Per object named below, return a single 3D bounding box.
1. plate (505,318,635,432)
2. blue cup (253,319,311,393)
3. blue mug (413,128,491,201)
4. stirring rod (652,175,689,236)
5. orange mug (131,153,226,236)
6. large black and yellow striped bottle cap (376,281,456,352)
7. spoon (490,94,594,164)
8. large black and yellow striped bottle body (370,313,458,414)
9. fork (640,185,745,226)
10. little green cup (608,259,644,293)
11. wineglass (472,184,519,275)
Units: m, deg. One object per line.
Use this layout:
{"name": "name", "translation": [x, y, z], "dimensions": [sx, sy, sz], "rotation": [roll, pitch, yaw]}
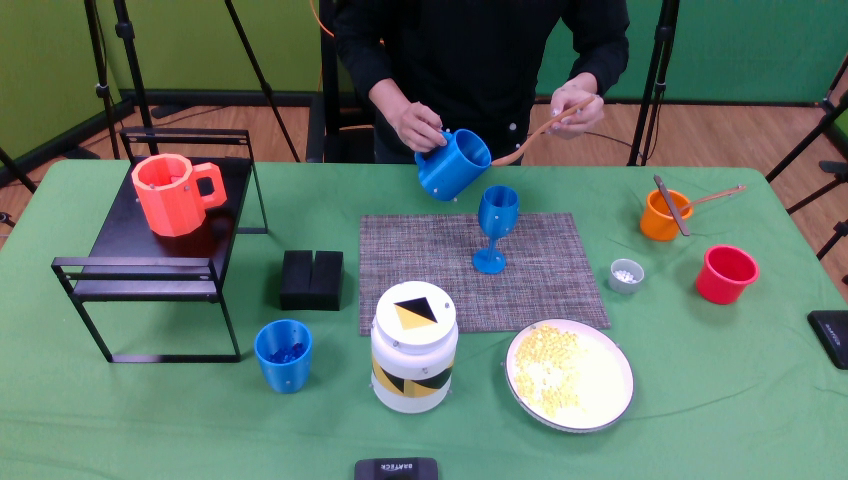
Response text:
{"name": "plate", "translation": [0.235, 0.221, 0.991], "dimensions": [0.209, 0.038, 0.208], "rotation": [2, 45, -2]}
{"name": "blue cup", "translation": [-0.217, 0.187, 0.943], "dimensions": [0.093, 0.100, 0.092], "rotation": [4, 45, -3]}
{"name": "blue mug", "translation": [0.038, -0.138, 1.038], "dimensions": [0.117, 0.106, 0.082], "rotation": [34, 43, -17]}
{"name": "stirring rod", "translation": [0.492, -0.072, 1.211], "dimensions": [0.014, 0.006, 0.175], "rotation": [-1, 46, -6]}
{"name": "orange mug", "translation": [-0.375, -0.075, 0.937], "dimensions": [0.126, 0.101, 0.083], "rotation": [-20, 50, -16]}
{"name": "large black and yellow striped bottle cap", "translation": [-0.011, 0.107, 0.863], "dimensions": [0.115, 0.019, 0.114], "rotation": [2, 47, -2]}
{"name": "spoon", "translation": [0.181, -0.171, 0.947], "dimensions": [0.021, 0.194, 0.041], "rotation": [52, 31, -2]}
{"name": "large black and yellow striped bottle body", "translation": [-0.017, 0.165, 0.924], "dimensions": [0.131, 0.185, 0.130], "rotation": [2, 46, -2]}
{"name": "fork", "translation": [0.534, -0.069, 1.215], "dimensions": [0.207, 0.019, 0.028], "rotation": [-26, 26, 33]}
{"name": "little green cup", "translation": [0.379, 0.070, 1.147], "dimensions": [0.061, 0.039, 0.061], "rotation": [3, 45, -3]}
{"name": "wineglass", "translation": [0.129, -0.018, 1.113], "dimensions": [0.074, 0.173, 0.073], "rotation": [2, 46, -2]}
